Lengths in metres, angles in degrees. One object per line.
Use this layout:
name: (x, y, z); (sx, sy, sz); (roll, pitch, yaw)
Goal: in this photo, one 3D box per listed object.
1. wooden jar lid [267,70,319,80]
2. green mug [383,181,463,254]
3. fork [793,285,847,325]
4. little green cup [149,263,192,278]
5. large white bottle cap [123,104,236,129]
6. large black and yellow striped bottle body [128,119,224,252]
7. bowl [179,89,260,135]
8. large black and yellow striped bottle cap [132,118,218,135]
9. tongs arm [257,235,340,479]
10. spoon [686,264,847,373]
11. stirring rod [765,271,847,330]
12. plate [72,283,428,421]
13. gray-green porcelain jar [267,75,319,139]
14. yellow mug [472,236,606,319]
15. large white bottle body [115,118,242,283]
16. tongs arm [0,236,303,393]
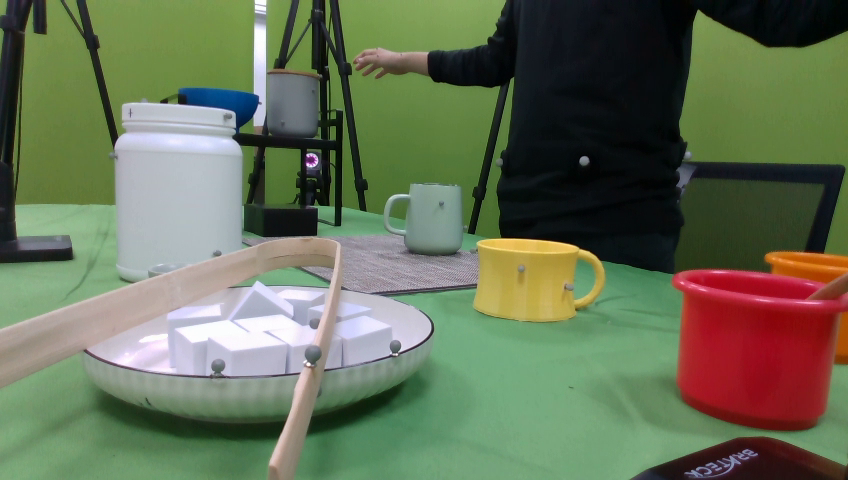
wooden jar lid: (-0.275, -0.339, 1.271); (0.108, 0.020, 0.108); (5, 6, 0)
green mug: (-0.001, -0.036, 0.922); (0.126, 0.105, 0.092); (0, 8, -16)
fork: (0.332, 0.019, 0.443); (0.028, 0.018, 0.207); (-3, -35, -16)
little green cup: (-0.207, 0.043, 0.531); (0.061, 0.038, 0.061); (3, 6, 0)
large white bottle cap: (-0.266, -0.134, 0.663); (0.115, 0.018, 0.115); (3, 7, 0)
large black and yellow striped bottle body: (-0.361, -0.081, 0.887); (0.131, 0.184, 0.130); (2, 8, 0)
bowl: (-0.400, -0.248, 1.188); (0.151, 0.077, 0.151); (2, 6, 0)
large black and yellow striped bottle cap: (-0.359, -0.164, 0.875); (0.115, 0.019, 0.115); (2, 6, 0)
tongs arm: (-0.074, 0.039, 0.349); (0.051, 0.026, 0.384); (-2, 9, -3)
spoon: (0.214, 0.032, 0.328); (0.042, 0.021, 0.193); (-3, -35, -26)
stirring rod: (0.352, 0.020, 0.481); (0.176, 0.006, 0.014); (-40, -8, 17)
plate: (-0.102, 0.066, 0.381); (0.208, 0.039, 0.207); (2, 7, 0)
gray-green porcelain jar: (-0.277, -0.279, 1.280); (0.106, 0.126, 0.106); (2, 8, 0)
yellow mug: (0.114, 0.034, 0.590); (0.131, 0.064, 0.100); (2, 6, -7)
large white bottle body: (-0.270, -0.051, 0.673); (0.131, 0.184, 0.130); (2, 8, 0)
tongs arm: (-0.158, 0.038, 0.351); (0.028, 0.028, 0.388); (-3, 8, 12)
